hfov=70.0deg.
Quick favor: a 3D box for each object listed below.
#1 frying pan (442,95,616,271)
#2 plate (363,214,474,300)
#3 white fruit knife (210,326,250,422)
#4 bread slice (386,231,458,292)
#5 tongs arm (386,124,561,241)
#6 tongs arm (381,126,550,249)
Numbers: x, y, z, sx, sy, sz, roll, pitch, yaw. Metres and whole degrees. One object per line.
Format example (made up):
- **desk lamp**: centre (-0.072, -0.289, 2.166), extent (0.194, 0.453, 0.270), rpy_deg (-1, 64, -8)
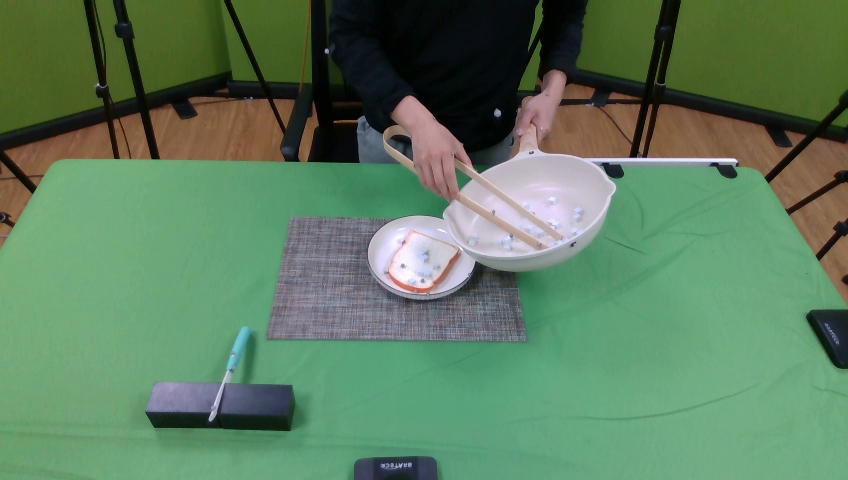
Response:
- **frying pan**: centre (0.199, -0.126, 1.148), extent (0.306, 0.103, 0.485), rpy_deg (-7, 48, 18)
- **plate**: centre (-0.010, 0.036, 1.146), extent (0.208, 0.039, 0.206), rpy_deg (3, 46, -2)
- **white fruit knife**: centre (-0.301, 0.201, 0.942), extent (0.016, 0.027, 0.206), rpy_deg (1, 32, -1)
- **bread slice**: centre (-0.007, 0.043, 1.142), extent (0.107, 0.018, 0.134), rpy_deg (18, 45, 14)
- **tongs arm**: centre (0.084, -0.110, 1.094), extent (0.386, 0.028, 0.028), rpy_deg (36, 71, 18)
- **tongs arm**: centre (0.068, -0.094, 1.085), extent (0.383, 0.026, 0.050), rpy_deg (32, 66, 17)
